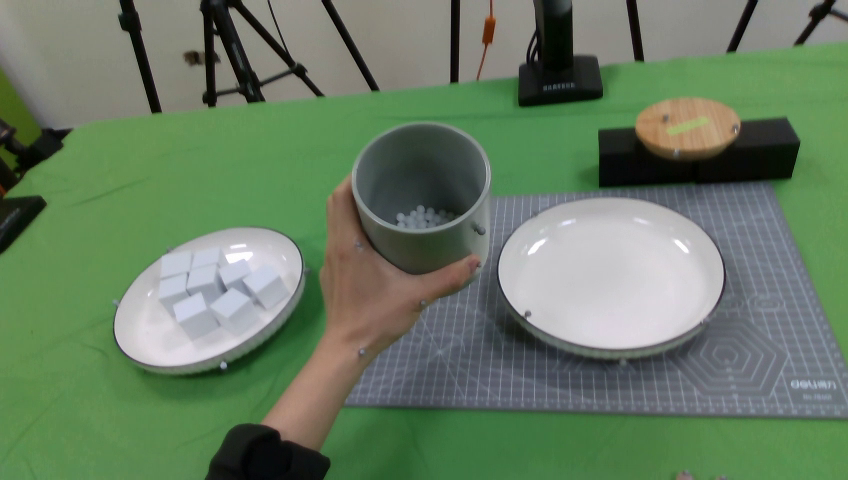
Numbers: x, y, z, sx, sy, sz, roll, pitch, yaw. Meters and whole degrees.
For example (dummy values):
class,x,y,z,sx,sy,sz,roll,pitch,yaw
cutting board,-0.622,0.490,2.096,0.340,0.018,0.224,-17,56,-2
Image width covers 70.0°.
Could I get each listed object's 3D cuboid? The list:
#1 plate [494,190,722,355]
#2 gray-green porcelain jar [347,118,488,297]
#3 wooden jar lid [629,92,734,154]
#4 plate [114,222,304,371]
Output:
class,x,y,z,sx,sy,sz,roll,pitch,yaw
plate,0.173,0.029,0.587,0.209,0.038,0.207,-8,42,7
gray-green porcelain jar,-0.001,-0.019,0.499,0.106,0.127,0.105,-2,59,4
wooden jar lid,0.286,-0.130,0.675,0.108,0.021,0.107,-7,43,7
plate,-0.229,0.062,0.667,0.207,0.039,0.205,-8,42,7
